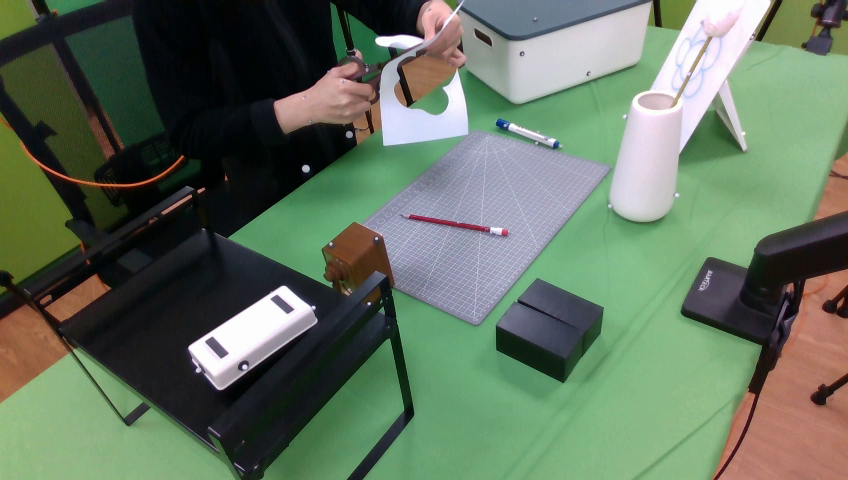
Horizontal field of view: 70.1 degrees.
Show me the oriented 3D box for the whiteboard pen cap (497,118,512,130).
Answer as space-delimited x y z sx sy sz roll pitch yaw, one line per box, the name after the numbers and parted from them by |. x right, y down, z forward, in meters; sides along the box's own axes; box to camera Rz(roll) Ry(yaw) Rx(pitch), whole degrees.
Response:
0.165 -0.235 1.227 0.033 0.018 0.018 31 53 31 | whiteboard pen cap

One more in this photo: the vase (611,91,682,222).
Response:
0.348 -0.125 0.935 0.098 0.201 0.097 -3 40 3 | vase

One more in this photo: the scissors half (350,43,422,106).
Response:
-0.057 -0.252 0.925 0.174 0.040 0.013 -30 18 46 | scissors half

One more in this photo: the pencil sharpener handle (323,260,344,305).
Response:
-0.131 0.062 0.839 0.035 0.068 0.031 29 55 28 | pencil sharpener handle

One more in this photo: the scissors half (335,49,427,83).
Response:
-0.069 -0.269 0.917 0.174 0.040 0.013 -1 42 33 | scissors half

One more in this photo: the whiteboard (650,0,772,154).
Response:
0.543 -0.298 1.076 0.144 0.305 0.216 12 40 -7 | whiteboard

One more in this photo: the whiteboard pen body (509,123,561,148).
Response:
0.208 -0.212 1.195 0.139 0.017 0.017 30 52 33 | whiteboard pen body

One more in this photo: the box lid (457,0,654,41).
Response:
0.285 -0.522 1.323 0.373 0.015 0.261 -22 43 -16 | box lid

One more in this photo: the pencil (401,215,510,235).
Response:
0.049 -0.027 1.007 0.193 0.012 0.012 10 43 21 | pencil

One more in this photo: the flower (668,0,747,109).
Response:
0.354 -0.187 0.879 0.038 0.362 0.044 30 48 14 | flower

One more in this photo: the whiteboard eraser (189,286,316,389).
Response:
-0.166 0.096 0.593 0.113 0.042 0.055 -36 47 -29 | whiteboard eraser

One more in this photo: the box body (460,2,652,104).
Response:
0.291 -0.465 1.371 0.365 0.161 0.252 -22 42 -16 | box body

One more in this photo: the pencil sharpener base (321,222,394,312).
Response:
-0.096 0.041 0.873 0.061 0.107 0.077 25 54 32 | pencil sharpener base
